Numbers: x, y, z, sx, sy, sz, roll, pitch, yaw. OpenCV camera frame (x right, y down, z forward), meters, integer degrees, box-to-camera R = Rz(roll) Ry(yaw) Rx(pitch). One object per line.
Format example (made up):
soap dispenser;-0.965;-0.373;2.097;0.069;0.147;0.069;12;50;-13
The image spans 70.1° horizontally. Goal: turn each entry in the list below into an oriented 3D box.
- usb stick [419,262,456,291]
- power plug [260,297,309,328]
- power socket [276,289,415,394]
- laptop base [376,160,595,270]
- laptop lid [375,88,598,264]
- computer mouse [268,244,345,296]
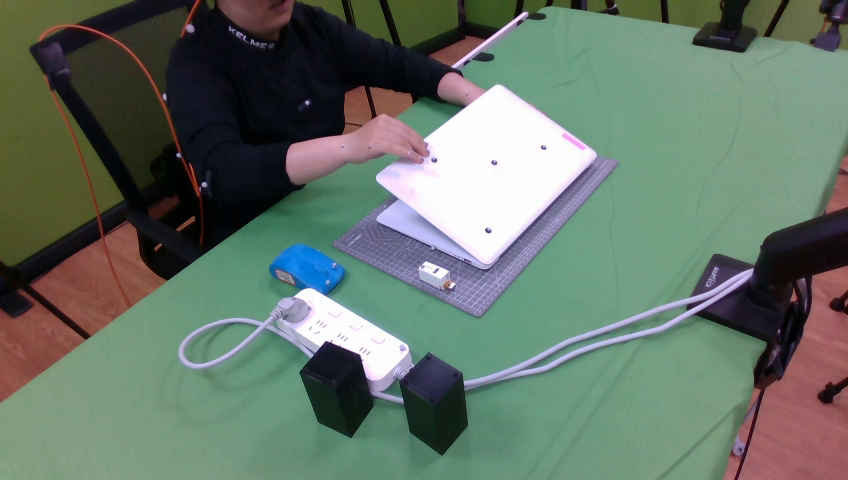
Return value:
usb stick;0.021;0.056;0.892;0.058;0.027;0.021;25;47;30
power plug;-0.193;0.107;0.831;0.073;0.053;0.035;-32;43;-24
power socket;-0.114;0.133;0.820;0.225;0.033;0.072;25;49;33
laptop base;0.115;-0.086;1.056;0.233;0.023;0.355;21;48;34
laptop lid;0.117;-0.126;1.015;0.240;0.013;0.358;39;56;16
computer mouse;-0.182;0.044;0.933;0.116;0.041;0.063;23;47;25
